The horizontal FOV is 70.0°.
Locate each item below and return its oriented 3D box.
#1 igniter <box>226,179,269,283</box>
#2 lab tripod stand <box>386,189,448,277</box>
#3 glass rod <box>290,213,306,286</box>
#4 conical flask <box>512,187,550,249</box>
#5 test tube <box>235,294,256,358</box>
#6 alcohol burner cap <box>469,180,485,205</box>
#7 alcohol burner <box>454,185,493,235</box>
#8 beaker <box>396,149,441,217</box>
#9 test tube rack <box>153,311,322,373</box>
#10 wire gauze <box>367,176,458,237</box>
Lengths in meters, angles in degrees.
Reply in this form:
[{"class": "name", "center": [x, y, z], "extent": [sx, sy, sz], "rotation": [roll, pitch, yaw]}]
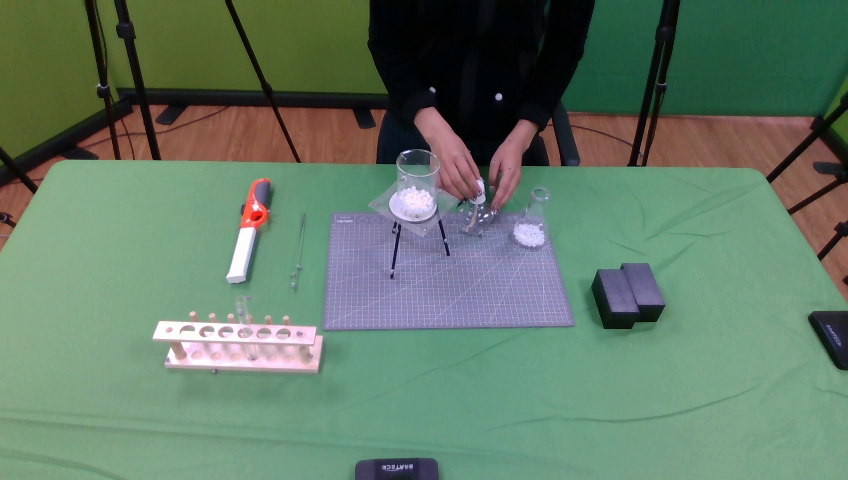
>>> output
[{"class": "igniter", "center": [-0.345, -0.027, 1.195], "extent": [0.057, 0.025, 0.274], "rotation": [-6, 46, 5]}, {"class": "lab tripod stand", "center": [-0.021, -0.018, 1.135], "extent": [0.148, 0.132, 0.147], "rotation": [3, 44, -3]}, {"class": "glass rod", "center": [-0.244, 0.015, 1.175], "extent": [0.008, 0.008, 0.198], "rotation": [1, 43, -3]}, {"class": "conical flask", "center": [0.217, -0.048, 1.190], "extent": [0.075, 0.122, 0.075], "rotation": [2, 46, -2]}, {"class": "test tube", "center": [-0.274, 0.136, 0.933], "extent": [0.017, 0.151, 0.017], "rotation": [4, 46, -4]}, {"class": "alcohol burner cap", "center": [0.102, -0.094, 1.176], "extent": [0.034, 0.048, 0.033], "rotation": [-4, 48, 5]}, {"class": "alcohol burner", "center": [0.101, -0.067, 1.205], "extent": [0.078, 0.119, 0.077], "rotation": [4, 46, -3]}, {"class": "beaker", "center": [-0.015, -0.098, 1.053], "extent": [0.074, 0.101, 0.083], "rotation": [-31, 55, -30]}, {"class": "test tube rack", "center": [-0.293, 0.160, 0.978], "extent": [0.242, 0.085, 0.066], "rotation": [3, 46, -2]}, {"class": "wire gauze", "center": [-0.020, -0.066, 1.089], "extent": [0.124, 0.011, 0.121], "rotation": [27, 47, 22]}]
